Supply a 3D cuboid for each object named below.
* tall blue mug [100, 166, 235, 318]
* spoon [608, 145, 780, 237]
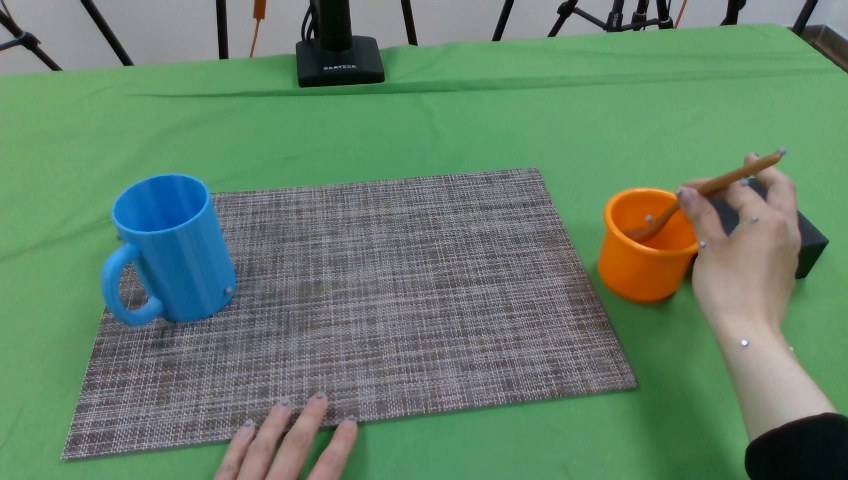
[{"bbox_3d":[-0.214,0.012,0.517,0.078,0.109,0.106,1,45,-2],"label":"tall blue mug"},{"bbox_3d":[0.218,-0.037,0.512,0.042,0.194,0.021,-23,78,-22],"label":"spoon"}]
